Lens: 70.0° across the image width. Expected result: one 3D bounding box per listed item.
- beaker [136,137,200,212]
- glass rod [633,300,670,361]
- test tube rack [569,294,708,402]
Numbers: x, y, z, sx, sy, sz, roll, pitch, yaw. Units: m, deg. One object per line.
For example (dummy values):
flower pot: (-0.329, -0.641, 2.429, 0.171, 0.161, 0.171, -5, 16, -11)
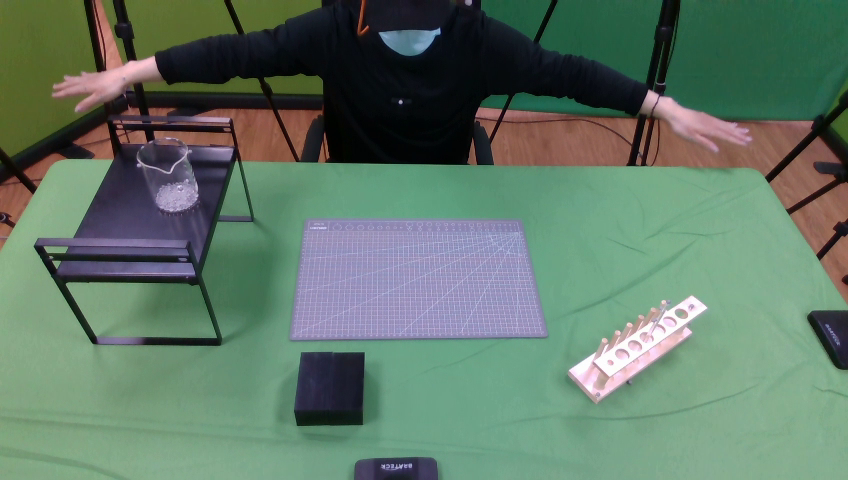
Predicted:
beaker: (-0.399, -0.098, 0.957, 0.074, 0.101, 0.083, -19, 51, -20)
glass rod: (0.351, 0.144, 0.944, 0.008, 0.201, 0.008, -1, 55, 1)
test tube rack: (0.360, 0.167, 1.014, 0.242, 0.085, 0.066, -25, 53, -25)
